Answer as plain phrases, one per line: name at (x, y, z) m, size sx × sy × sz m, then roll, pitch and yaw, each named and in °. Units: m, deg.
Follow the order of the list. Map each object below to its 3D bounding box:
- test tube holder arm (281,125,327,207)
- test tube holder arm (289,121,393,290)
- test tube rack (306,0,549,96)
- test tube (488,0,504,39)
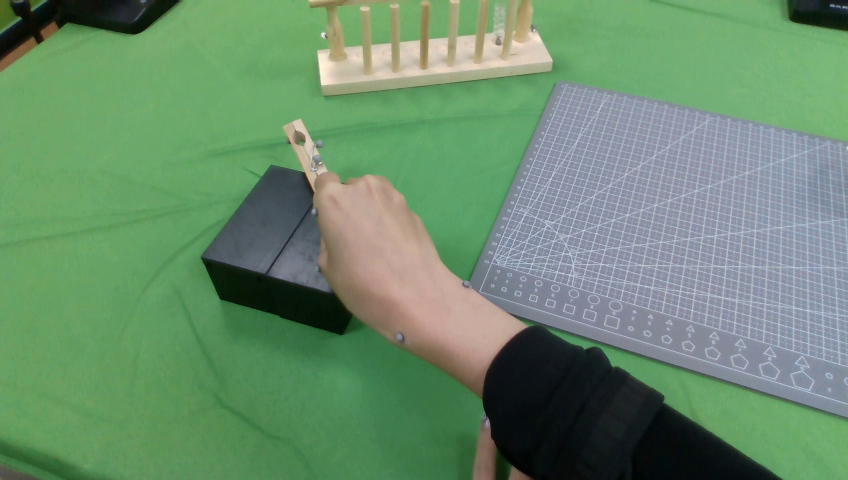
test tube holder arm at (-0.091, -0.059, 0.469) m, size 0.010 × 0.015 × 0.087 m, roll -34°, pitch 56°, yaw 1°
test tube holder arm at (-0.065, -0.031, 0.444) m, size 0.013 × 0.015 × 0.176 m, roll -35°, pitch 56°, yaw 0°
test tube rack at (0.007, -0.215, 0.622) m, size 0.243 × 0.086 × 0.066 m, roll -8°, pitch 50°, yaw -7°
test tube at (0.074, -0.273, 0.605) m, size 0.017 × 0.151 × 0.017 m, roll -1°, pitch 46°, yaw 2°
